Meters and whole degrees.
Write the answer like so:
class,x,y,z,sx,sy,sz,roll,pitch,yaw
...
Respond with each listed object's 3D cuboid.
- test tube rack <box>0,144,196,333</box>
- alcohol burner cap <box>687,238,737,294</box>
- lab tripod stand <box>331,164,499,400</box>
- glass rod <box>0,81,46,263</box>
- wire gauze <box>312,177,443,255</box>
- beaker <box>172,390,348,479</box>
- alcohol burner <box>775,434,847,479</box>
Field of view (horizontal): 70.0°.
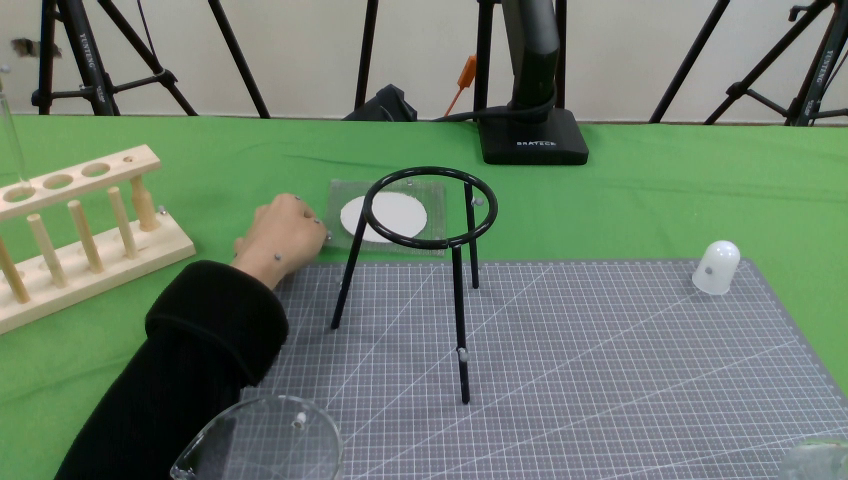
class,x,y,z,sx,sy,sz,roll,pitch,yaw
test tube rack,-0.321,0.009,0.485,0.242,0.086,0.066,-26,47,-30
alcohol burner cap,0.252,0.020,0.527,0.034,0.048,0.033,1,39,-1
lab tripod stand,-0.001,0.024,0.439,0.148,0.132,0.147,0,41,0
glass rod,-0.315,-0.064,0.471,0.008,0.201,0.008,4,32,-2
wire gauze,-0.043,-0.028,0.606,0.125,0.011,0.120,2,38,0
beaker,-0.079,0.140,0.320,0.084,0.101,0.073,-2,39,-4
alcohol burner,0.241,0.133,0.332,0.078,0.120,0.077,1,37,-1
